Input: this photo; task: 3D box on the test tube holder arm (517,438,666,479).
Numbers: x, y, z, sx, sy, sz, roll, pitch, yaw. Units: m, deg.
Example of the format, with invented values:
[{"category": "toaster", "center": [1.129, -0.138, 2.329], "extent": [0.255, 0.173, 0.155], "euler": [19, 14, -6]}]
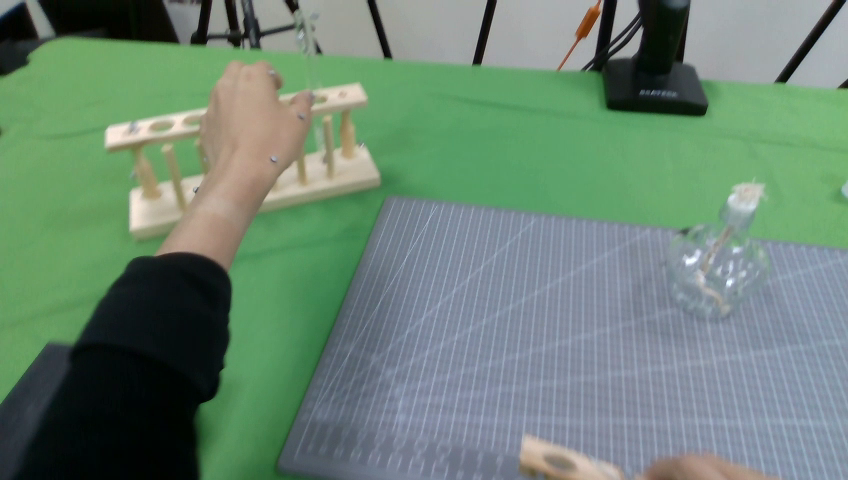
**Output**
[{"category": "test tube holder arm", "center": [0.137, 0.137, 0.321], "extent": [0.178, 0.015, 0.013], "euler": [13, 53, 11]}]

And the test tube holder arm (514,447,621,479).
[{"category": "test tube holder arm", "center": [0.092, 0.132, 0.327], "extent": [0.087, 0.015, 0.010], "euler": [14, 53, 12]}]

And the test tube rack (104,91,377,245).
[{"category": "test tube rack", "center": [-0.174, -0.074, 0.602], "extent": [0.243, 0.086, 0.066], "euler": [-14, 43, -15]}]

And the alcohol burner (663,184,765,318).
[{"category": "alcohol burner", "center": [0.237, 0.006, 0.485], "extent": [0.078, 0.120, 0.077], "euler": [1, 40, 0]}]

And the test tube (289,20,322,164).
[{"category": "test tube", "center": [-0.113, -0.142, 0.602], "extent": [0.017, 0.151, 0.017], "euler": [-2, 39, 2]}]

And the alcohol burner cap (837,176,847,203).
[{"category": "alcohol burner cap", "center": [0.449, -0.060, 0.617], "extent": [0.034, 0.048, 0.033], "euler": [-1, 42, 2]}]
